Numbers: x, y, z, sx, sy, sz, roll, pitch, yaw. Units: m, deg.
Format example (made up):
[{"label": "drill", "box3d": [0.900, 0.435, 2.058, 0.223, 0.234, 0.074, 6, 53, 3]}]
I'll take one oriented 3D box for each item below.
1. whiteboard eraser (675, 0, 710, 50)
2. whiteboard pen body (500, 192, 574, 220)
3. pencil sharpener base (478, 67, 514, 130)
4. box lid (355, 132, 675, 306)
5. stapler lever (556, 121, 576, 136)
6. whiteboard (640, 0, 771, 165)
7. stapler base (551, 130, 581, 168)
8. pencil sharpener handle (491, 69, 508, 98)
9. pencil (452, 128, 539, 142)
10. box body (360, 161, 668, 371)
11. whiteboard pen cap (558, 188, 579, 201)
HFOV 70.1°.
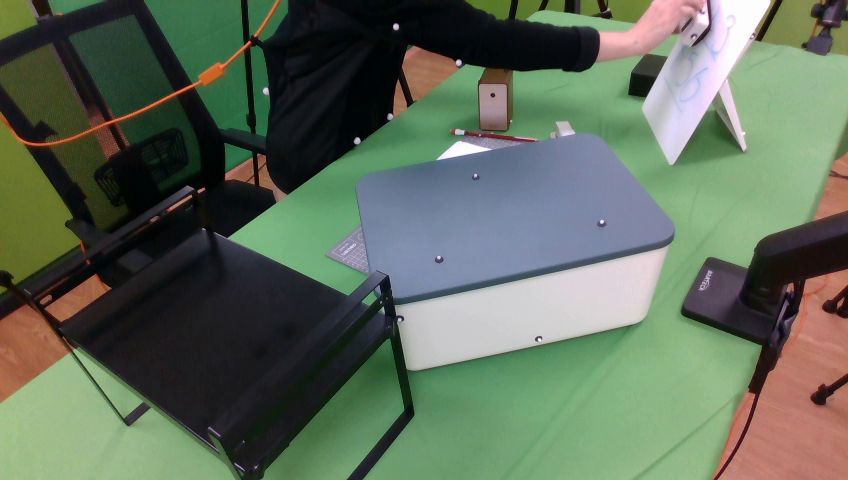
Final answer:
[{"label": "whiteboard eraser", "box3d": [0.474, -0.394, 1.066, 0.042, 0.055, 0.112, 11, 61, -5]}, {"label": "whiteboard pen body", "box3d": [0.191, -0.059, 1.011, 0.141, 0.017, 0.017, -18, 42, -15]}, {"label": "pencil sharpener base", "box3d": [0.148, -0.287, 1.224, 0.061, 0.107, 0.076, 5, 41, 15]}, {"label": "box lid", "box3d": [0.103, -0.042, 0.785, 0.372, 0.015, 0.261, -12, 41, -5]}, {"label": "stapler lever", "box3d": [0.267, -0.198, 1.128, 0.027, 0.040, 0.117, 1, 38, 3]}, {"label": "whiteboard", "box3d": [0.544, -0.298, 1.076, 0.144, 0.305, 0.216, 12, 40, -7]}, {"label": "stapler base", "box3d": [0.268, -0.178, 1.142, 0.041, 0.024, 0.130, 1, 37, 3]}, {"label": "pencil sharpener handle", "box3d": [0.155, -0.329, 1.254, 0.036, 0.068, 0.030, 15, 43, 5]}, {"label": "pencil", "box3d": [0.147, -0.207, 1.206, 0.193, 0.012, 0.012, 10, 43, 19]}, {"label": "box body", "box3d": [0.109, 0.014, 0.833, 0.365, 0.161, 0.252, -11, 41, -5]}, {"label": "whiteboard pen cap", "box3d": [0.245, -0.076, 1.028, 0.033, 0.018, 0.018, -18, 42, -14]}]
